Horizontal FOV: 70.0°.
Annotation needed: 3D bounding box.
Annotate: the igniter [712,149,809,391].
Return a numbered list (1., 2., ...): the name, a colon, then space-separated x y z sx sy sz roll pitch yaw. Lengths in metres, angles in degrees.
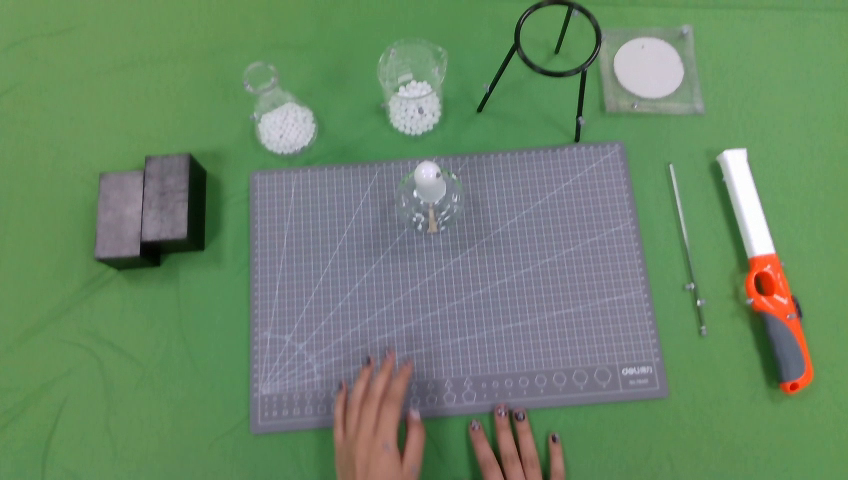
1. igniter: 0.377 0.028 0.680 0.057 0.025 0.275 -6 75 -12

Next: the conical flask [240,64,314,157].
1. conical flask: -0.171 -0.150 0.684 0.075 0.122 0.075 0 74 1

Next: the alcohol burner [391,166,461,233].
1. alcohol burner: 0.003 -0.051 0.657 0.078 0.120 0.077 0 72 0

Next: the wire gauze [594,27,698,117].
1. wire gauze: 0.275 -0.211 0.757 0.125 0.011 0.121 0 76 -1

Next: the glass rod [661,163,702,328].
1. glass rod: 0.296 0.002 0.698 0.008 0.008 0.198 -5 74 -1

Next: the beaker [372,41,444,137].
1. beaker: -0.015 -0.171 0.701 0.084 0.101 0.073 -31 76 -8

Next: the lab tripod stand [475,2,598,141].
1. lab tripod stand: 0.133 -0.189 0.687 0.148 0.132 0.147 0 76 2

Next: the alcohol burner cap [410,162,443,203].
1. alcohol burner cap: 0.002 -0.063 0.623 0.034 0.048 0.033 -2 69 6
